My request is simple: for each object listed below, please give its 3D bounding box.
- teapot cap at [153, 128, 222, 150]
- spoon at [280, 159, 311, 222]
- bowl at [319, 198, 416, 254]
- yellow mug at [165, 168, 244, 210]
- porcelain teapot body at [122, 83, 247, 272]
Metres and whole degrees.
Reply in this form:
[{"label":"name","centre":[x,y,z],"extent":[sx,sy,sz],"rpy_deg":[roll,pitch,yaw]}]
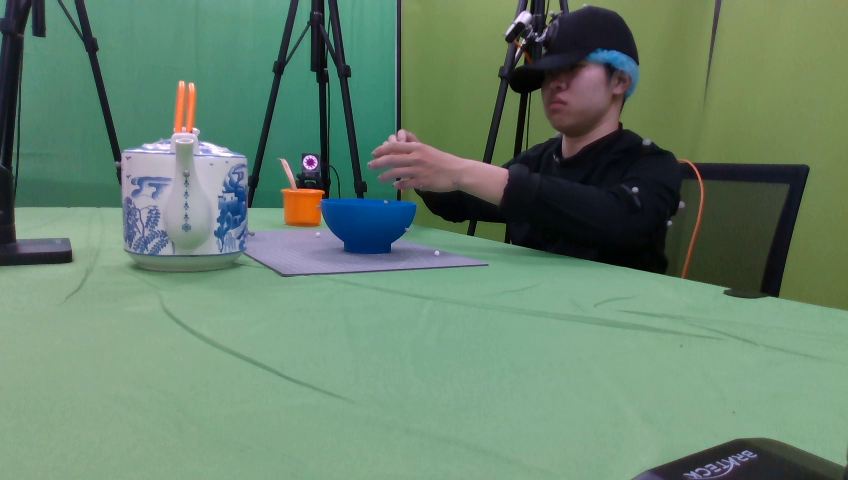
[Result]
[{"label":"teapot cap","centre":[-0.294,-0.117,0.754],"extent":[0.085,0.044,0.085],"rpy_deg":[4,9,0]},{"label":"spoon","centre":[-0.285,-0.111,1.320],"extent":[0.042,0.193,0.021],"rpy_deg":[-2,-36,-31]},{"label":"bowl","centre":[-0.089,-0.022,0.941],"extent":[0.151,0.077,0.151],"rpy_deg":[2,7,0]},{"label":"yellow mug","centre":[-0.370,-0.086,1.027],"extent":[0.131,0.064,0.100],"rpy_deg":[5,7,4]},{"label":"porcelain teapot body","centre":[-0.286,-0.075,0.733],"extent":[0.146,0.225,0.204],"rpy_deg":[0,8,-24]}]
